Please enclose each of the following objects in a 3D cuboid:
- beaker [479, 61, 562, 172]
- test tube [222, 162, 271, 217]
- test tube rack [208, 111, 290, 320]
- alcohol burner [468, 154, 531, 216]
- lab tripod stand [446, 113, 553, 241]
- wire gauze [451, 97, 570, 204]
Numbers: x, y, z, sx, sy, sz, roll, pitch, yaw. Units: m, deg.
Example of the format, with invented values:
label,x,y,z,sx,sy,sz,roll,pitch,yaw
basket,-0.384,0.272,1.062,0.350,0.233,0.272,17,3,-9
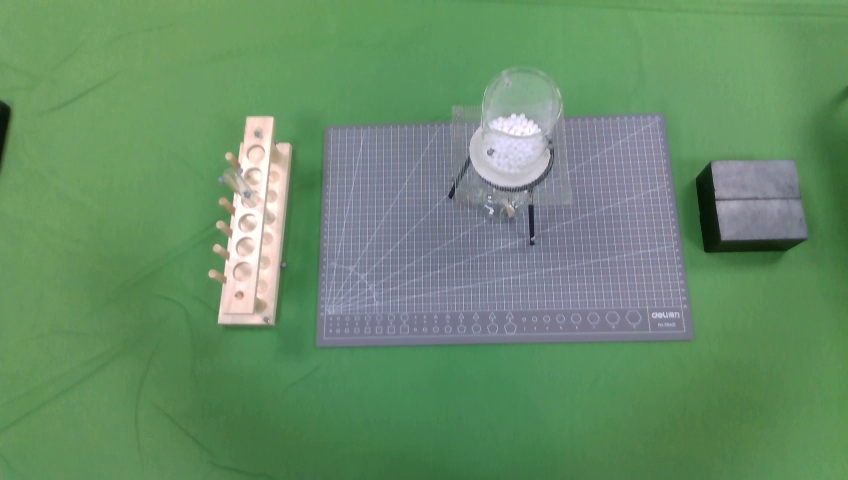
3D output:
label,x,y,z,sx,sy,sz,roll,pitch,yaw
beaker,0.089,-0.116,0.604,0.084,0.101,0.073,-34,75,-7
test tube,-0.200,-0.054,0.694,0.017,0.151,0.017,0,75,1
test tube rack,-0.217,-0.028,0.739,0.067,0.085,0.241,1,74,3
alcohol burner,0.092,-0.072,0.720,0.078,0.120,0.077,0,73,1
lab tripod stand,0.098,-0.082,0.712,0.148,0.132,0.147,-1,72,3
wire gauze,0.091,-0.097,0.648,0.125,0.011,0.121,0,74,0
